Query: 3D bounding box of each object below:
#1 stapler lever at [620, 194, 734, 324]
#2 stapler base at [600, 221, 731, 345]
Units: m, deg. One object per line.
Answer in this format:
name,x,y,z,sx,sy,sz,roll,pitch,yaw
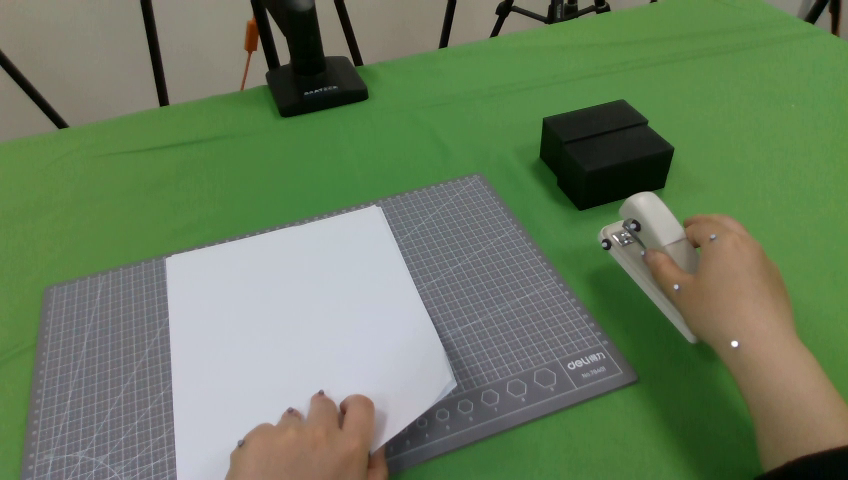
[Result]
stapler lever,0.201,0.011,0.484,0.027,0.040,0.117,-21,54,-15
stapler base,0.199,0.026,0.504,0.041,0.024,0.129,-21,54,-16
